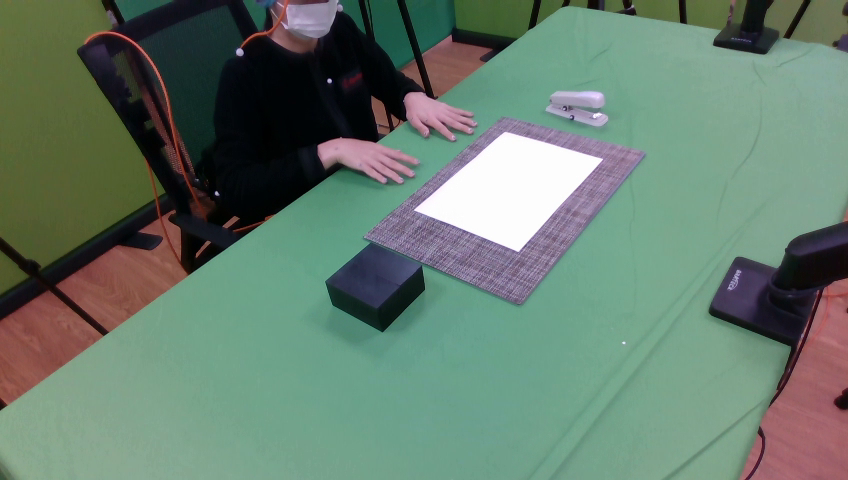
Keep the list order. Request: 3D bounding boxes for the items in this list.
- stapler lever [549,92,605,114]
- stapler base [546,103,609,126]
[{"bbox_3d":[0.309,-0.285,1.220,0.117,0.040,0.027,26,49,35],"label":"stapler lever"},{"bbox_3d":[0.313,-0.265,1.235,0.129,0.024,0.041,26,48,35],"label":"stapler base"}]
